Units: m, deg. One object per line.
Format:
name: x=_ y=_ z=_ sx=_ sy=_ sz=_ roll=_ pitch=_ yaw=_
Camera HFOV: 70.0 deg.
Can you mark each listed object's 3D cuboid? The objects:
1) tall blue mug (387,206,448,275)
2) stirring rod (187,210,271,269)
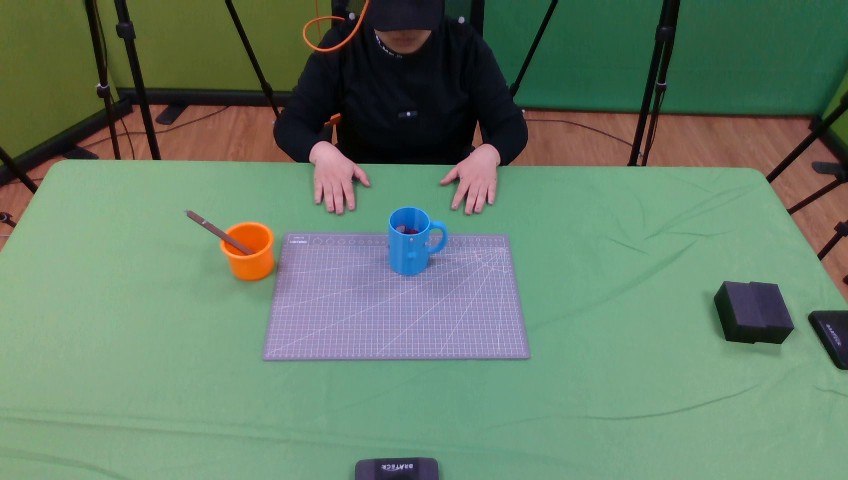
tall blue mug: x=-0.018 y=-0.004 z=1.138 sx=0.107 sy=0.108 sz=0.077 roll=-30 pitch=54 yaw=-29
stirring rod: x=-0.349 y=0.000 z=1.092 sx=0.177 sy=0.006 sz=0.014 roll=39 pitch=35 yaw=-27
